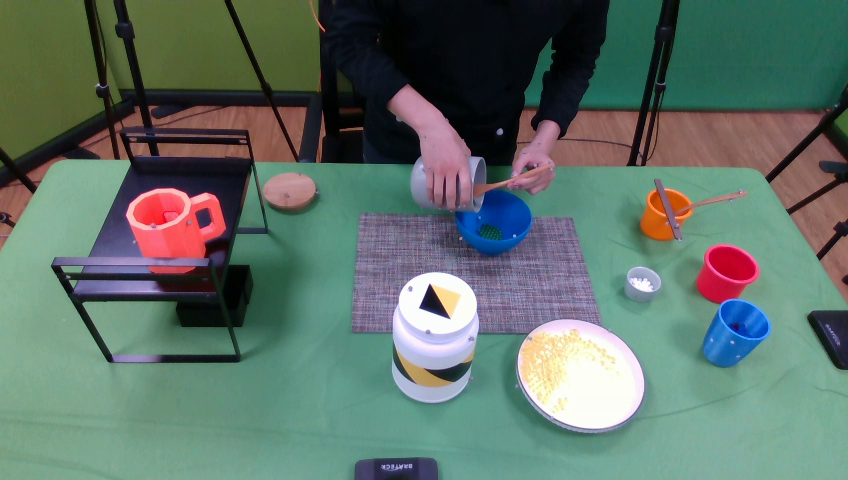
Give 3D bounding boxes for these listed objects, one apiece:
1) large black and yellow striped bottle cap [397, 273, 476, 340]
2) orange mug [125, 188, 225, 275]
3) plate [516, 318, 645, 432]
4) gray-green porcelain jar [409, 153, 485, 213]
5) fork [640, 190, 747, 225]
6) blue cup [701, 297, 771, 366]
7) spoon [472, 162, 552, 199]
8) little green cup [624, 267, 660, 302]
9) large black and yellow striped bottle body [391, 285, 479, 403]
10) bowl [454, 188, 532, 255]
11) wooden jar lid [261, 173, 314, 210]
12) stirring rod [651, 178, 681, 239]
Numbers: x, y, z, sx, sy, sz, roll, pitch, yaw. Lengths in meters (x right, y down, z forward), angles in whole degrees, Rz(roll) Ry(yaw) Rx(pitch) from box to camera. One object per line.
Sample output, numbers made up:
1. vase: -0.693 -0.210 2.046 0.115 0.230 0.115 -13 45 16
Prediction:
1. large black and yellow striped bottle cap: 0.018 0.094 0.878 0.115 0.019 0.114 3 46 -3
2. orange mug: -0.357 -0.020 0.884 0.126 0.101 0.083 -29 54 -23
3. plate: 0.253 0.221 0.992 0.209 0.038 0.208 2 46 -2
4. gray-green porcelain jar: 0.043 -0.109 1.141 0.126 0.106 0.105 7 45 17
5. fork: 0.533 -0.064 1.211 0.207 0.019 0.028 -22 28 39
6. blue cup: 0.519 0.162 1.025 0.093 0.101 0.092 3 45 -3
7. spoon: 0.147 -0.109 1.134 0.193 0.022 0.041 -17 49 17
8. little green cup: 0.406 0.084 1.135 0.061 0.039 0.061 3 46 -3
9. large black and yellow striped bottle body: 0.015 0.153 0.938 0.131 0.185 0.130 2 46 -2
10. bowl: 0.131 -0.025 1.186 0.151 0.077 0.150 2 45 -2
11. wooden jar lid: -0.286 -0.101 1.273 0.108 0.021 0.107 3 45 -3
12. stirring rod: 0.479 -0.065 1.204 0.014 0.006 0.175 3 46 -4
